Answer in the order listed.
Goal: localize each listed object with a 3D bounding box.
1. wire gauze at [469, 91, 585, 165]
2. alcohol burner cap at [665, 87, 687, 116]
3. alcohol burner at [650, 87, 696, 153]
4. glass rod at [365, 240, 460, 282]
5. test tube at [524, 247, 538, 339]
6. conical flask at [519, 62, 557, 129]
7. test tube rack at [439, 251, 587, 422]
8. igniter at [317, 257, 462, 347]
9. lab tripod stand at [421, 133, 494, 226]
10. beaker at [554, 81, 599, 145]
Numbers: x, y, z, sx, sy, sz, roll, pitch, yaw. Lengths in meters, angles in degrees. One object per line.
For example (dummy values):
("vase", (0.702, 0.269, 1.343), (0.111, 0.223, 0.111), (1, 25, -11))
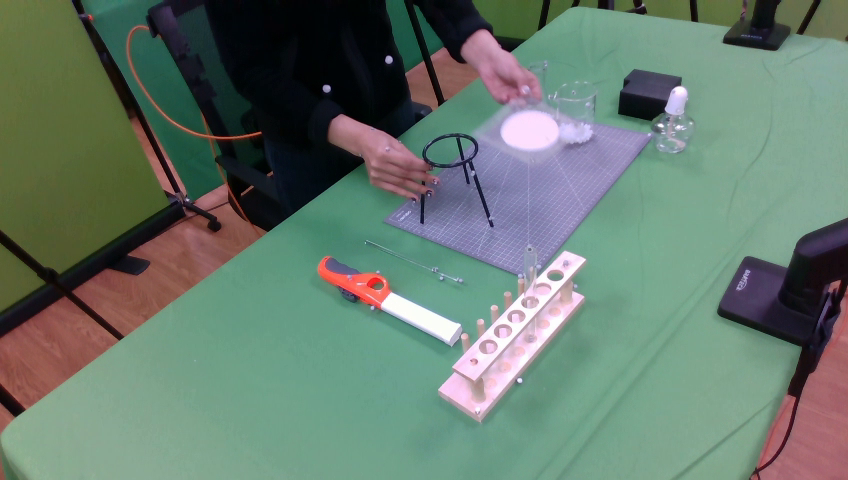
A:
("wire gauze", (0.153, -0.167, 0.899), (0.125, 0.011, 0.120), (-39, 58, -23))
("alcohol burner cap", (0.445, -0.244, 1.060), (0.034, 0.048, 0.033), (-2, 45, 3))
("alcohol burner", (0.448, -0.217, 1.084), (0.078, 0.119, 0.077), (-6, 38, 5))
("glass rod", (-0.023, 0.032, 0.961), (0.198, 0.008, 0.008), (21, 49, 34))
("test tube", (0.133, 0.070, 0.749), (0.017, 0.151, 0.017), (-5, 38, 4))
("conical flask", (0.225, -0.288, 1.198), (0.075, 0.122, 0.075), (-6, 40, 5))
("test tube rack", (0.118, 0.111, 0.780), (0.066, 0.085, 0.243), (26, 51, 35))
("igniter", (-0.061, 0.086, 0.891), (0.274, 0.025, 0.057), (23, 59, 33))
("lab tripod stand", (0.052, -0.099, 0.991), (0.148, 0.132, 0.147), (-8, 42, 7))
("beaker", (0.286, -0.237, 1.144), (0.084, 0.101, 0.073), (-16, 40, -7))
